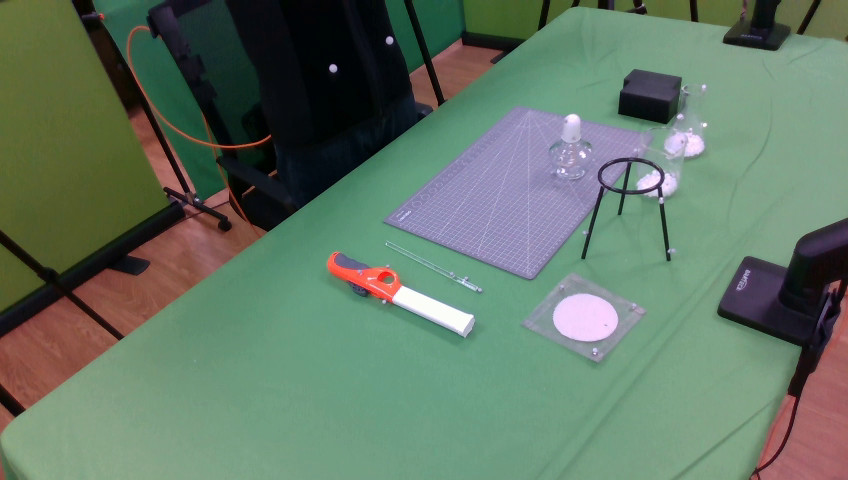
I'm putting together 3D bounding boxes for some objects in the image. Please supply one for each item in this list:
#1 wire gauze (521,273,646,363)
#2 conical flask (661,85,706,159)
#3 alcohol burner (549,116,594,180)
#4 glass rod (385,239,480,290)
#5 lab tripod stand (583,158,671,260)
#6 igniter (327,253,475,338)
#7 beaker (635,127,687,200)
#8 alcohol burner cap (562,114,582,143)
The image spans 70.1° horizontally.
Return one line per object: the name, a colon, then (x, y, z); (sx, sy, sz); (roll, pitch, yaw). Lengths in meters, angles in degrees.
wire gauze: (0.219, 0.105, 0.830); (0.120, 0.011, 0.125); (28, 54, 37)
conical flask: (0.464, -0.210, 1.065); (0.075, 0.122, 0.075); (-6, 40, 5)
alcohol burner: (0.258, -0.166, 1.055); (0.078, 0.120, 0.077); (-6, 42, 6)
glass rod: (0.009, 0.037, 0.950); (0.198, 0.008, 0.008); (26, 52, 35)
lab tripod stand: (0.300, -0.046, 0.895); (0.148, 0.132, 0.147); (-7, 38, 6)
igniter: (-0.045, 0.077, 0.898); (0.274, 0.025, 0.057); (22, 60, 32)
beaker: (0.388, -0.122, 0.994); (0.074, 0.101, 0.083); (-8, 40, 2)
alcohol burner cap: (0.254, -0.192, 1.030); (0.034, 0.048, 0.033); (-4, 50, 6)
